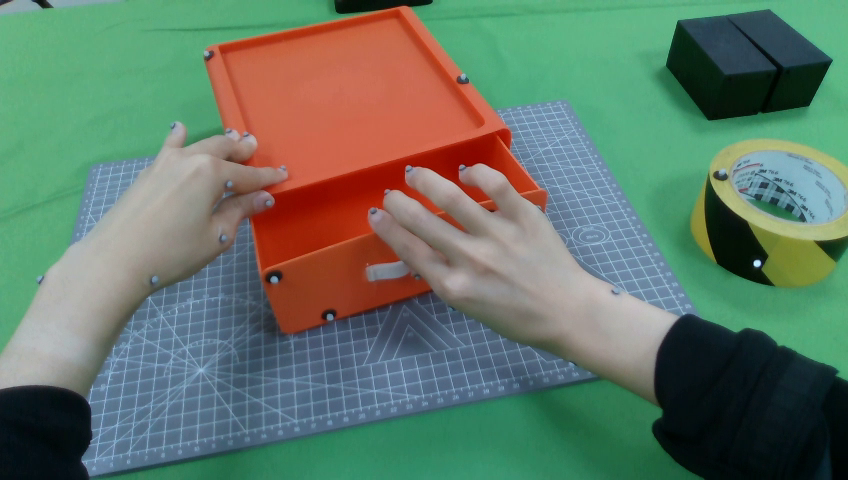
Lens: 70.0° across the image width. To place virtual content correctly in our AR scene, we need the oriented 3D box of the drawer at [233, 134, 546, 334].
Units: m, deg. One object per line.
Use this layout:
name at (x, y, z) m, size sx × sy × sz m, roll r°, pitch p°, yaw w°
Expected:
drawer at (-0.041, -0.050, 0.473) m, size 0.195 × 0.074 × 0.209 m, roll -17°, pitch 48°, yaw -12°

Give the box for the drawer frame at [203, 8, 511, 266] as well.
drawer frame at (-0.065, -0.098, 0.515) m, size 0.202 × 0.083 × 0.211 m, roll -18°, pitch 49°, yaw -14°

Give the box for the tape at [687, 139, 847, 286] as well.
tape at (0.264, -0.024, 0.461) m, size 0.117 × 0.053 × 0.115 m, roll 0°, pitch 47°, yaw 1°
